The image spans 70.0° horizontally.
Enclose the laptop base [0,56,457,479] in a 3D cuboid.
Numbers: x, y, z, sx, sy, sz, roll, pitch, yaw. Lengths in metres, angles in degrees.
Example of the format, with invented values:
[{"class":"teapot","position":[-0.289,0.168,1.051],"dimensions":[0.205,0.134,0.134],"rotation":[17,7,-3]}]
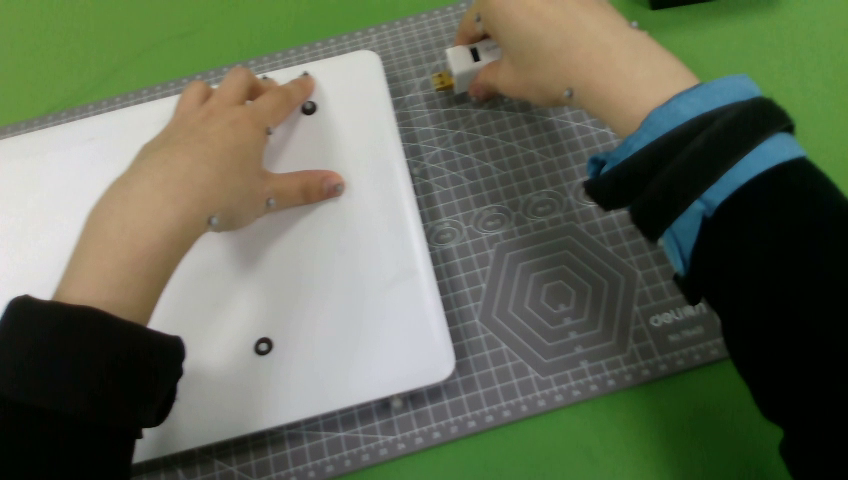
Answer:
[{"class":"laptop base","position":[-0.176,0.019,0.379],"dimensions":[0.354,0.023,0.233],"rotation":[-14,69,-1]}]

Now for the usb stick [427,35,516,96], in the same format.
[{"class":"usb stick","position":[0.030,-0.114,0.403],"dimensions":[0.059,0.027,0.021],"rotation":[-17,73,2]}]

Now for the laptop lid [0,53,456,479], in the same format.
[{"class":"laptop lid","position":[-0.177,0.016,0.368],"dimensions":[0.357,0.013,0.239],"rotation":[-13,68,0]}]
